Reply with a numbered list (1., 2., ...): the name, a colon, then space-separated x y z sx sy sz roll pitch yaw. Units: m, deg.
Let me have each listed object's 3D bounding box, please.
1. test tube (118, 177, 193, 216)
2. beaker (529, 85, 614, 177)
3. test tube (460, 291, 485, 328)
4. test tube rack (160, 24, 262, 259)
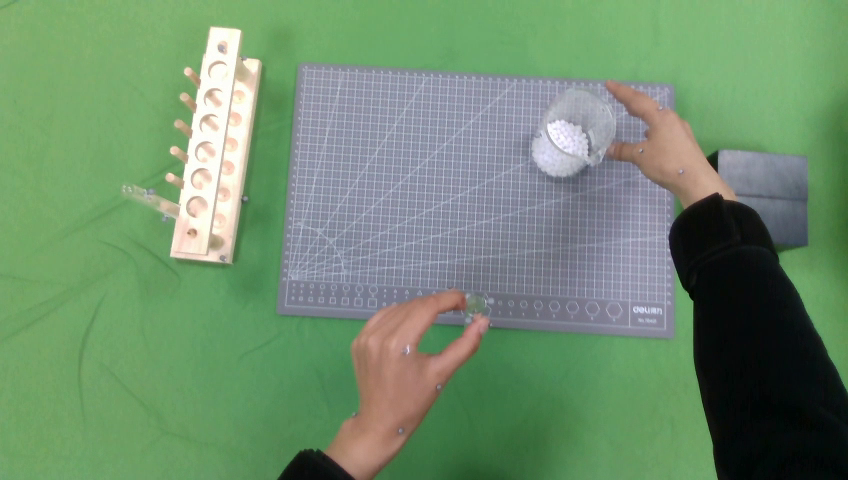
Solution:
1. test tube: -0.269 -0.041 0.614 0.017 0.151 0.017 0 83 0
2. beaker: 0.159 -0.112 0.665 0.074 0.100 0.083 -25 83 -4
3. test tube: 0.041 0.064 0.534 0.017 0.151 0.017 0 76 2
4. test tube rack: -0.240 -0.106 0.669 0.067 0.085 0.241 7 82 0
